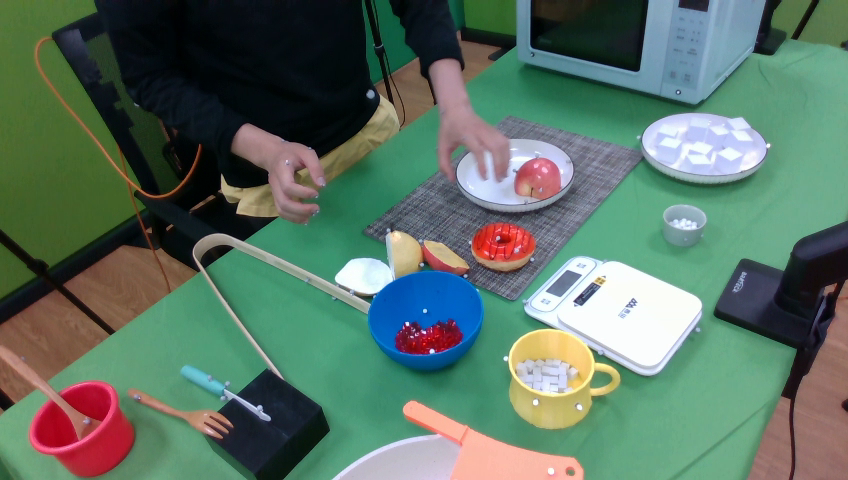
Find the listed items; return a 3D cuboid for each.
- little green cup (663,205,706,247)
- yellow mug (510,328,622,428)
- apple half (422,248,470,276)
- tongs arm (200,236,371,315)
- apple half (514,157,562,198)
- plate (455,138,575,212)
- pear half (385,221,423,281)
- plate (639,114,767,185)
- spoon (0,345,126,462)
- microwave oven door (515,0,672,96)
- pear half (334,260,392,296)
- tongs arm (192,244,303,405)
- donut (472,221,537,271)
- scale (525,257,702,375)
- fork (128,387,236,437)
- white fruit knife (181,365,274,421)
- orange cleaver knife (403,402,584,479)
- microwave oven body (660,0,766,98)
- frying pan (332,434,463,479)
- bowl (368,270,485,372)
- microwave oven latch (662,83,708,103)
[{"bbox_3d":[0.396,-0.021,0.926,0.061,0.039,0.061,-4,40,4],"label":"little green cup"},{"bbox_3d":[0.168,0.164,0.722,0.130,0.064,0.099,0,40,8],"label":"yellow mug"},{"bbox_3d":[0.024,0.039,0.911,0.081,0.033,0.081,20,3,-1],"label":"apple half"},{"bbox_3d":[-0.209,0.062,0.924,0.381,0.027,0.051,23,54,32],"label":"tongs arm"},{"bbox_3d":[0.196,-0.113,1.032,0.080,0.053,0.075,16,44,30],"label":"apple half"},{"bbox_3d":[0.159,-0.111,1.063,0.209,0.038,0.208,-4,40,4],"label":"plate"},{"bbox_3d":[-0.030,0.013,0.897,0.056,0.110,0.076,-16,45,-10],"label":"pear half"},{"bbox_3d":[0.489,-0.157,1.074,0.207,0.039,0.206,-4,40,4],"label":"plate"},{"bbox_3d":[-0.434,0.192,0.720,0.194,0.021,0.042,47,53,-7],"label":"spoon"},{"bbox_3d":[0.343,-0.455,1.259,0.353,0.245,0.039,26,51,33],"label":"microwave oven door"},{"bbox_3d":[-0.092,0.063,0.907,0.088,0.031,0.070,-8,40,-24],"label":"pear half"},{"bbox_3d":[-0.268,0.110,0.883,0.028,0.028,0.384,-36,47,-18],"label":"tongs arm"},{"bbox_3d":[0.123,0.008,0.923,0.099,0.048,0.098,-3,38,3],"label":"donut"},{"bbox_3d":[0.254,0.091,0.821,0.199,0.032,0.149,28,51,35],"label":"scale"},{"bbox_3d":[-0.305,0.207,0.744,0.206,0.019,0.028,3,40,36],"label":"fork"},{"bbox_3d":[-0.245,0.187,0.747,0.205,0.027,0.016,9,41,41],"label":"white fruit knife"},{"bbox_3d":[0.062,0.222,0.609,0.210,0.012,0.077,15,48,25],"label":"orange cleaver knife"},{"bbox_3d":[0.472,-0.513,1.317,0.438,0.261,0.327,26,51,34],"label":"microwave oven body"},{"bbox_3d":[-0.089,0.306,0.564,0.487,0.103,0.306,10,41,7],"label":"frying pan"},{"bbox_3d":[0.007,0.118,0.791,0.151,0.077,0.150,-5,40,4],"label":"bowl"},{"bbox_3d":[0.517,-0.296,1.204,0.078,0.029,0.030,27,52,35],"label":"microwave oven latch"}]
